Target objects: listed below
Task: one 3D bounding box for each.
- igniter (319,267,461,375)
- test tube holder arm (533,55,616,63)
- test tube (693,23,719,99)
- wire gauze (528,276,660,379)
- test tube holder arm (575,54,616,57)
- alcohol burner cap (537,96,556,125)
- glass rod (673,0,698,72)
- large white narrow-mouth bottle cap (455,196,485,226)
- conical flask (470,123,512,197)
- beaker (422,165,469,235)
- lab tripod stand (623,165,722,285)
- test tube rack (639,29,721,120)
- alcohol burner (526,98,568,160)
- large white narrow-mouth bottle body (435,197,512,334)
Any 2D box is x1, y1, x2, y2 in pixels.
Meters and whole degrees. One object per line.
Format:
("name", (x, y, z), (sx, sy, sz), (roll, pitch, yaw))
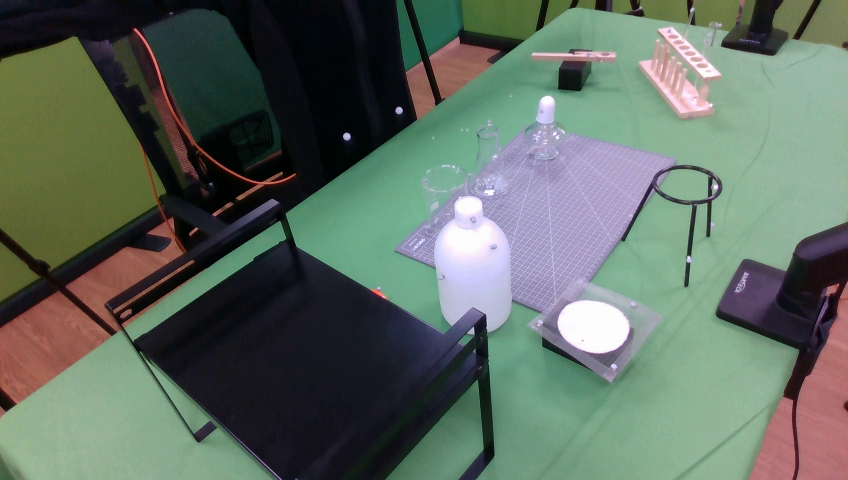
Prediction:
("igniter", (-0.060, 0.108, 0.862), (0.274, 0.025, 0.057), (28, 62, 35))
("test tube holder arm", (0.329, -0.398, 1.327), (0.178, 0.015, 0.013), (5, 51, 15))
("test tube", (0.546, -0.345, 1.175), (0.017, 0.151, 0.017), (-2, 39, 2))
("wire gauze", (0.213, 0.103, 0.763), (0.124, 0.011, 0.122), (30, 52, 35))
("test tube holder arm", (0.373, -0.398, 1.318), (0.087, 0.015, 0.010), (5, 51, 16))
("alcohol burner cap", (0.223, -0.237, 1.095), (0.034, 0.048, 0.033), (0, 43, 1))
("glass rod", (0.536, -0.424, 1.244), (0.008, 0.200, 0.008), (0, 48, 0))
("large white narrow-mouth bottle cap", (0.057, -0.036, 0.749), (0.038, 0.024, 0.037), (-4, 40, 4))
("conical flask", (0.115, -0.139, 1.046), (0.075, 0.122, 0.075), (-4, 41, 4))
("beaker", (0.041, -0.063, 0.986), (0.073, 0.101, 0.084), (20, 47, 29))
("lab tripod stand", (0.365, -0.030, 0.874), (0.148, 0.132, 0.147), (-6, 41, 6))
("test tube rack", (0.527, -0.351, 1.262), (0.067, 0.085, 0.241), (-8, 40, 1))
("alcohol burner", (0.228, -0.210, 1.118), (0.078, 0.119, 0.077), (-5, 43, 5))
("large white narrow-mouth bottle body", (0.066, 0.029, 0.805), (0.102, 0.195, 0.101), (-4, 40, 4))
